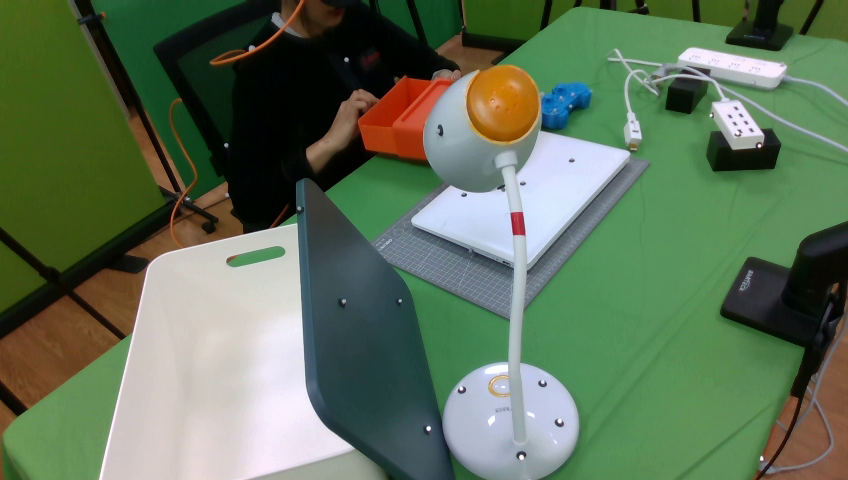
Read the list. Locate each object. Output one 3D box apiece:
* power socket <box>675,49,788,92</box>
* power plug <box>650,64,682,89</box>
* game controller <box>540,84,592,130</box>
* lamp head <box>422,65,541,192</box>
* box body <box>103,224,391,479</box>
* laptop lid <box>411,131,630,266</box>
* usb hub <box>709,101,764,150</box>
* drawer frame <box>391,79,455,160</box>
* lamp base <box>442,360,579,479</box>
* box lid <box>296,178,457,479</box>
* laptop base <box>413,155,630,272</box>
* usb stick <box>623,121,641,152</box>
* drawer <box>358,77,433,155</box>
[{"bbox_3d":[0.647,-0.363,1.284,0.225,0.033,0.072,26,53,35],"label":"power socket"},{"bbox_3d":[0.498,-0.341,1.263,0.035,0.052,0.072,20,10,-7],"label":"power plug"},{"bbox_3d":[0.277,-0.282,1.251,0.096,0.052,0.155,27,52,30],"label":"game controller"},{"bbox_3d":[0.060,-0.106,0.560,0.113,0.112,0.122,-17,0,-8],"label":"lamp head"},{"bbox_3d":[-0.190,0.161,0.723,0.255,0.161,0.361,-13,40,-5],"label":"box body"},{"bbox_3d":[0.172,-0.094,1.050,0.239,0.013,0.358,23,49,36],"label":"laptop lid"},{"bbox_3d":[0.534,-0.199,1.040,0.049,0.025,0.124,-5,39,8],"label":"usb hub"},{"bbox_3d":[0.080,-0.229,1.165,0.212,0.083,0.202,12,43,25],"label":"drawer frame"},{"bbox_3d":[0.094,0.158,0.657,0.161,0.181,0.178,-14,42,-5],"label":"lamp base"},{"bbox_3d":[-0.060,0.103,0.702,0.015,0.265,0.369,-30,39,11],"label":"box lid"},{"bbox_3d":[0.176,-0.085,1.056,0.233,0.023,0.355,21,49,35],"label":"laptop base"},{"bbox_3d":[0.389,-0.191,1.128,0.021,0.027,0.059,8,62,-9],"label":"usb stick"},{"bbox_3d":[0.010,-0.242,1.198,0.210,0.073,0.194,13,45,26],"label":"drawer"}]
